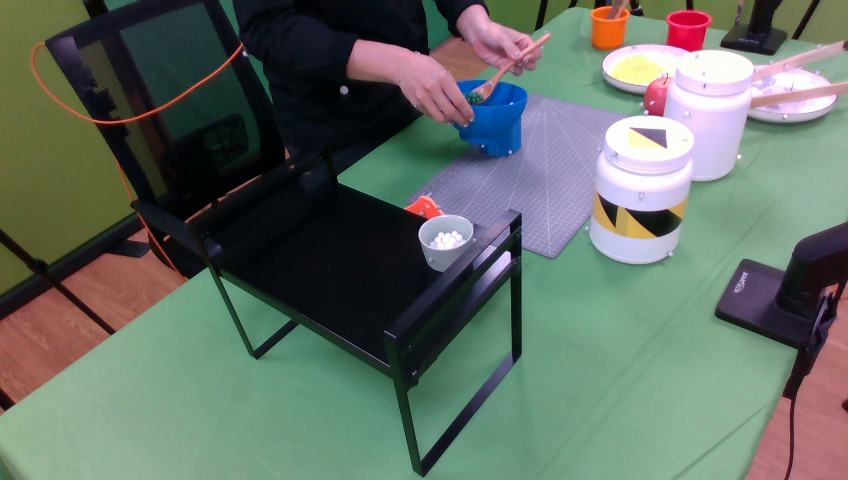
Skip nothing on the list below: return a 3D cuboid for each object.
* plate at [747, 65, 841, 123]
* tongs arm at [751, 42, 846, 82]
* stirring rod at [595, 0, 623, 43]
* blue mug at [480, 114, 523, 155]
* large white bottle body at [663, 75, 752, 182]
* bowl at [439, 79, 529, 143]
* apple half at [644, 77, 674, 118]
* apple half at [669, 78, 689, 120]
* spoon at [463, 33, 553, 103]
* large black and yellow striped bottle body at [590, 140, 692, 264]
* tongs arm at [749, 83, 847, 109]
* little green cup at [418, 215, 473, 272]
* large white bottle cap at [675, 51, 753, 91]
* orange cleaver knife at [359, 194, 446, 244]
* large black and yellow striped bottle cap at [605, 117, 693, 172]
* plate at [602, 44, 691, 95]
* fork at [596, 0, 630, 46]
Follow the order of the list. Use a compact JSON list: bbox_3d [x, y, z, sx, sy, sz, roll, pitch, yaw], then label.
[{"bbox_3d":[0.695,-0.282,1.189,0.207,0.039,0.206,-4,40,4],"label":"plate"},{"bbox_3d":[0.708,-0.331,1.193,0.386,0.026,0.050,-18,45,-16],"label":"tongs arm"},{"bbox_3d":[0.460,-0.556,1.459,0.014,0.006,0.176,30,93,23],"label":"stirring rod"},{"bbox_3d":[0.135,-0.235,1.163,0.082,0.106,0.115,-36,48,-28],"label":"blue mug"},{"bbox_3d":[0.472,-0.207,1.022,0.130,0.185,0.130,-4,41,4],"label":"large white bottle body"},{"bbox_3d":[0.099,-0.215,1.030,0.151,0.077,0.151,2,31,-1],"label":"bowl"},{"bbox_3d":[0.463,-0.279,1.194,0.053,0.075,0.081,8,46,24],"label":"apple half"},{"bbox_3d":[0.498,-0.273,1.180,0.032,0.082,0.081,7,42,25],"label":"apple half"},{"bbox_3d":[0.146,-0.294,1.032,0.194,0.022,0.041,-41,44,-2],"label":"spoon"},{"bbox_3d":[0.317,-0.071,0.889,0.131,0.185,0.130,-4,41,4],"label":"large black and yellow striped bottle body"},{"bbox_3d":[0.734,-0.280,1.133,0.388,0.028,0.028,-9,47,-5],"label":"tongs arm"},{"bbox_3d":[0.026,0.005,0.678,0.061,0.039,0.061,-4,40,4],"label":"little green cup"},{"bbox_3d":[0.463,-0.271,0.967,0.115,0.018,0.114,-4,40,4],"label":"large white bottle cap"},{"bbox_3d":[-0.032,-0.026,0.965,0.210,0.077,0.012,-10,29,51],"label":"orange cleaver knife"},{"bbox_3d":[0.309,-0.134,0.833,0.115,0.019,0.114,-5,40,5],"label":"large black and yellow striped bottle cap"},{"bbox_3d":[0.495,-0.367,1.317,0.209,0.038,0.208,-4,40,4],"label":"plate"},{"bbox_3d":[0.481,-0.556,1.453,0.028,0.019,0.207,40,103,40],"label":"fork"}]
